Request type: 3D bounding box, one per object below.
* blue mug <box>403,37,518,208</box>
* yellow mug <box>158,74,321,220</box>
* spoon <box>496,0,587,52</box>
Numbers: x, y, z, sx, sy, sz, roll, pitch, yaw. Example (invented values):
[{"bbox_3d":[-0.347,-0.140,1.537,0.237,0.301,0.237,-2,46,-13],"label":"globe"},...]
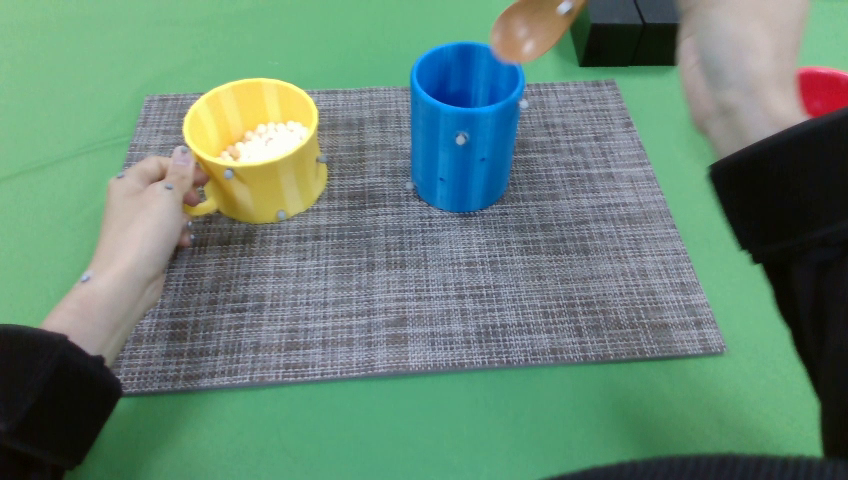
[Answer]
[{"bbox_3d":[0.036,-0.099,0.479,0.082,0.107,0.116,34,59,22],"label":"blue mug"},{"bbox_3d":[-0.146,-0.066,0.473,0.099,0.064,0.131,39,61,24],"label":"yellow mug"},{"bbox_3d":[0.120,-0.164,0.345,0.022,0.193,0.041,-11,83,-45],"label":"spoon"}]
